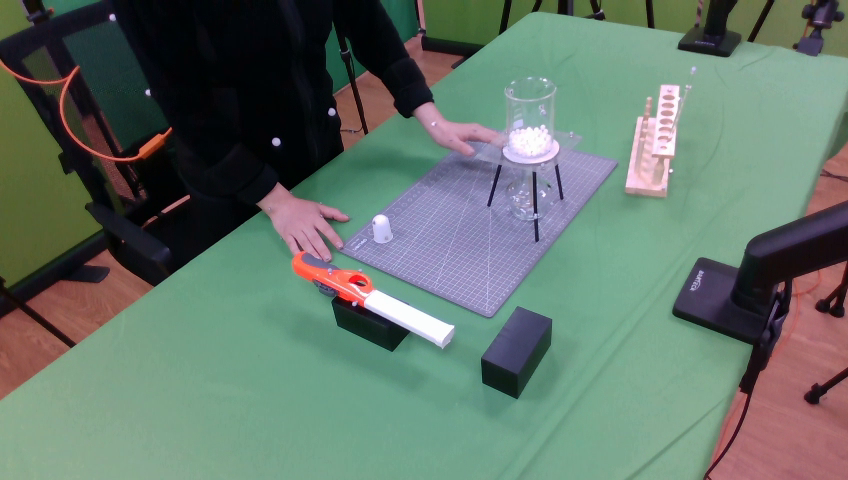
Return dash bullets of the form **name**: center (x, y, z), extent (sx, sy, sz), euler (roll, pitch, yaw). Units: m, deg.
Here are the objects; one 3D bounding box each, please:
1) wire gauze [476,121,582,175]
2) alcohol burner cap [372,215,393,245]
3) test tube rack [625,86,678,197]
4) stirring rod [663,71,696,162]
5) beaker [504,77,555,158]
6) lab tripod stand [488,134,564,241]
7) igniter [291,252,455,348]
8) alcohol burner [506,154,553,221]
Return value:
- **wire gauze**: center (0.162, -0.142, 0.929), extent (0.120, 0.011, 0.125), euler (19, 49, 32)
- **alcohol burner cap**: center (-0.070, -0.019, 0.990), extent (0.034, 0.048, 0.033), euler (-4, 41, 4)
- **test tube rack**: center (0.412, -0.184, 1.088), extent (0.066, 0.085, 0.242), euler (9, 43, 18)
- **stirring rod**: center (0.410, -0.195, 0.981), extent (0.014, 0.177, 0.006), euler (11, 50, 14)
- **beaker**: center (0.160, -0.181, 0.900), extent (0.084, 0.101, 0.073), euler (-32, 46, -27)
- **lab tripod stand**: center (0.168, -0.092, 0.972), extent (0.148, 0.132, 0.147), euler (-5, 41, 5)
- **igniter**: center (-0.080, 0.076, 0.822), extent (0.274, 0.025, 0.057), euler (23, 45, 27)
- **alcohol burner**: center (0.171, -0.090, 0.984), extent (0.078, 0.119, 0.077), euler (-5, 42, 5)
